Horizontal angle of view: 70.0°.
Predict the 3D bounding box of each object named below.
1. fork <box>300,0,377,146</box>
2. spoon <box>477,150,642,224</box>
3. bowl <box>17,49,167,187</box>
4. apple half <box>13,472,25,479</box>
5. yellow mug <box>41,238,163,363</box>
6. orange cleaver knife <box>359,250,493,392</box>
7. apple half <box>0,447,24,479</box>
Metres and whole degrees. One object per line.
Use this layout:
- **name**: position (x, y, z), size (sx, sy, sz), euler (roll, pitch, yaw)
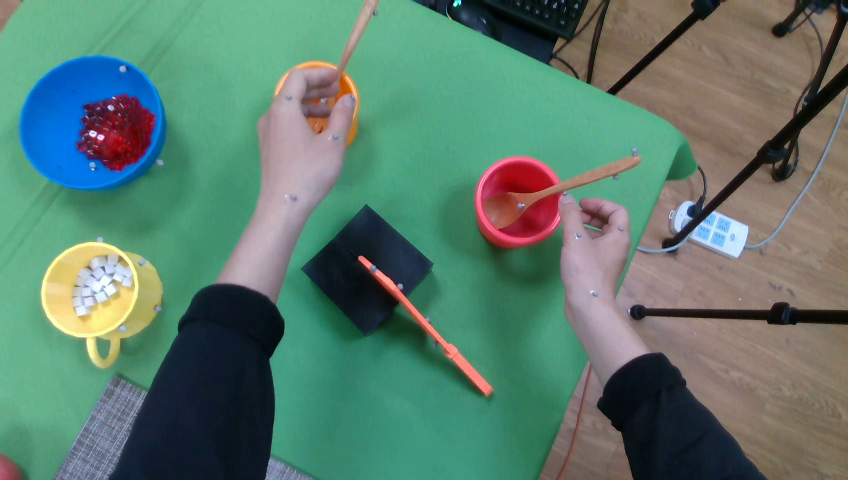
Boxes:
- **fork**: position (-0.090, -0.190, 0.659), size (0.028, 0.018, 0.208), euler (38, 125, 7)
- **spoon**: position (0.139, -0.057, 0.649), size (0.193, 0.022, 0.041), euler (-19, 77, 40)
- **bowl**: position (-0.353, -0.125, 0.676), size (0.151, 0.077, 0.151), euler (0, 81, -2)
- **apple half**: position (-0.454, 0.263, 0.613), size (0.081, 0.074, 0.053), euler (7, 85, -4)
- **yellow mug**: position (-0.342, 0.067, 0.652), size (0.100, 0.064, 0.130), euler (-5, 82, -3)
- **orange cleaver knife**: position (0.004, 0.088, 0.649), size (0.012, 0.076, 0.213), euler (-44, 117, -7)
- **apple half**: position (-0.451, 0.225, 0.618), size (0.081, 0.081, 0.032), euler (6, 84, 0)
